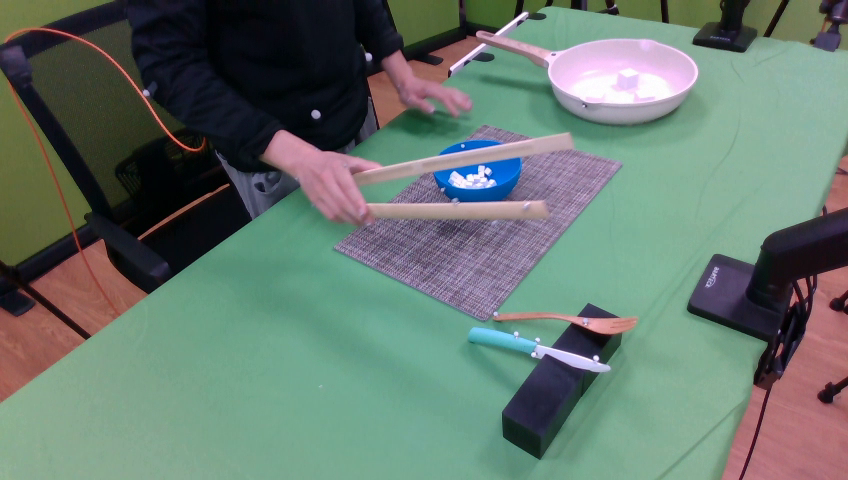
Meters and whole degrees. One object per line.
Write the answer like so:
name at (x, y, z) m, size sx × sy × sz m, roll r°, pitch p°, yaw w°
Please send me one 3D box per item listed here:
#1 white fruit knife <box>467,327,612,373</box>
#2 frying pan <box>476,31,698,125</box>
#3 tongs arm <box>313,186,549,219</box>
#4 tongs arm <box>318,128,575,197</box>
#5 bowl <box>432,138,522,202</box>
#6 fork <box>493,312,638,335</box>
white fruit knife at (0.134, 0.134, 0.742) m, size 0.205 × 0.027 × 0.016 m, roll 7°, pitch 34°, yaw 41°
frying pan at (0.321, -0.371, 1.290) m, size 0.484 × 0.103 × 0.307 m, roll 29°, pitch 51°, yaw 23°
tongs arm at (-0.010, -0.053, 0.798) m, size 0.382 × 0.027 × 0.050 m, roll 1°, pitch 49°, yaw 35°
tongs arm at (0.016, -0.106, 0.840) m, size 0.385 × 0.028 × 0.028 m, roll -8°, pitch 48°, yaw 27°
bowl at (0.091, -0.099, 1.021) m, size 0.151 × 0.077 × 0.150 m, roll -4°, pitch 41°, yaw 4°
fork at (0.173, 0.103, 0.774) m, size 0.206 × 0.019 × 0.028 m, roll 0°, pitch 41°, yaw 40°
